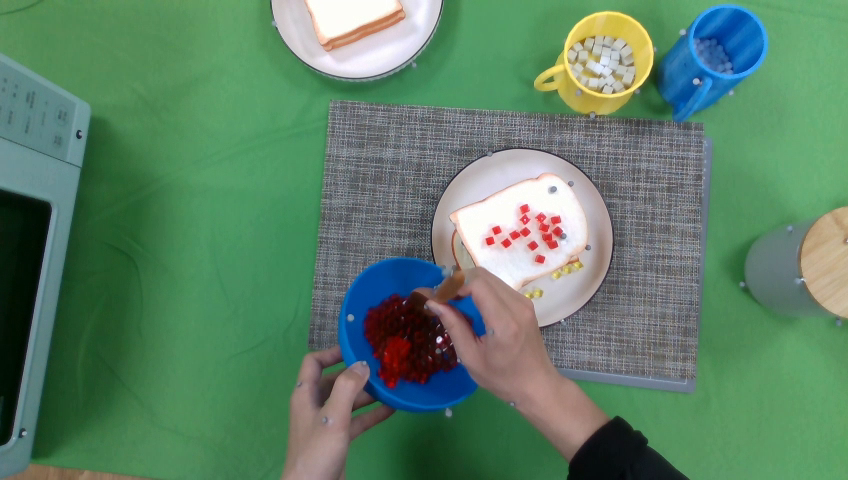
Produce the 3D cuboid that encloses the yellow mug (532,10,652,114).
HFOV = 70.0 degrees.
[{"bbox_3d":[0.189,-0.199,0.701,0.131,0.064,0.099,-15,83,2],"label":"yellow mug"}]

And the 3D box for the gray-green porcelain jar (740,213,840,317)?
[{"bbox_3d":[0.410,0.028,0.643,0.106,0.127,0.105,0,85,2],"label":"gray-green porcelain jar"}]

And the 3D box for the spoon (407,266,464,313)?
[{"bbox_3d":[0.012,0.045,0.521,0.041,0.194,0.021,28,78,-1],"label":"spoon"}]

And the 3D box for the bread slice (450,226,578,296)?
[{"bbox_3d":[0.099,0.004,0.699,0.131,0.019,0.104,-27,83,-2],"label":"bread slice"}]

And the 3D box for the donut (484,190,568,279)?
[{"bbox_3d":[0.113,-0.006,0.669,0.099,0.048,0.099,1,85,-16],"label":"donut"}]

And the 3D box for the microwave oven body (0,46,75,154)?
[{"bbox_3d":[-0.591,0.008,0.606,0.326,0.260,0.440,7,85,2],"label":"microwave oven body"}]

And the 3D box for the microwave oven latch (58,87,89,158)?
[{"bbox_3d":[-0.418,-0.138,0.710,0.030,0.029,0.079,10,86,3],"label":"microwave oven latch"}]

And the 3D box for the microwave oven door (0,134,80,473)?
[{"bbox_3d":[-0.453,0.068,0.591,0.039,0.244,0.355,7,85,3],"label":"microwave oven door"}]

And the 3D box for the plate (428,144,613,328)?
[{"bbox_3d":[0.109,-0.004,0.696,0.209,0.038,0.208,0,85,2],"label":"plate"}]

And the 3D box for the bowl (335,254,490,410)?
[{"bbox_3d":[-0.022,0.097,0.579,0.152,0.077,0.150,15,54,-21],"label":"bowl"}]

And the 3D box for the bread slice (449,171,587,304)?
[{"bbox_3d":[0.104,-0.012,0.638,0.134,0.018,0.107,-30,91,-8],"label":"bread slice"}]

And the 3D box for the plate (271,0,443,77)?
[{"bbox_3d":[-0.079,-0.295,0.733,0.207,0.039,0.207,0,85,2],"label":"plate"}]

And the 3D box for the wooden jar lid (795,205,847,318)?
[{"bbox_3d":[0.407,0.021,0.581,0.108,0.021,0.108,0,87,0],"label":"wooden jar lid"}]

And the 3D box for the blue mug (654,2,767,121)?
[{"bbox_3d":[0.309,-0.187,0.677,0.082,0.106,0.116,26,86,5],"label":"blue mug"}]
